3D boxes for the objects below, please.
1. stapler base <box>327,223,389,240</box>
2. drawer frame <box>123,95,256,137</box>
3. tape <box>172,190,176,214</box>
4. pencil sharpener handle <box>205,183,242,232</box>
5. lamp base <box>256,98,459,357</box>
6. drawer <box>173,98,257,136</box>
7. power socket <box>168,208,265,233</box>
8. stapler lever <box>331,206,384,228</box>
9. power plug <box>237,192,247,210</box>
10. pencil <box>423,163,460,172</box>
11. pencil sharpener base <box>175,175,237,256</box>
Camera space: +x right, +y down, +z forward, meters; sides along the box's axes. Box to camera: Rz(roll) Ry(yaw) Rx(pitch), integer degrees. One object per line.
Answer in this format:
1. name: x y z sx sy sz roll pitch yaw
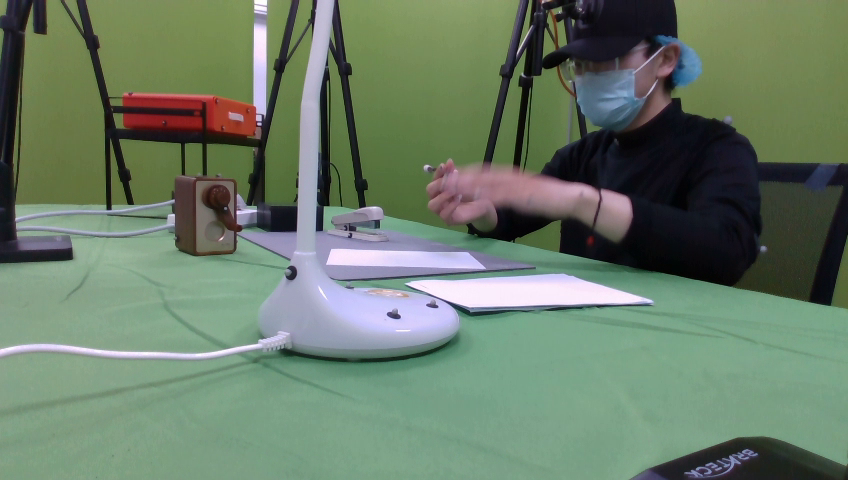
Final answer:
1. stapler base: -0.117 -0.018 1.073 0.130 0.024 0.041 7 8 41
2. drawer frame: -0.524 -0.281 1.376 0.213 0.082 0.202 3 8 8
3. tape: -0.515 -0.087 1.388 0.117 0.052 0.117 3 7 0
4. pencil sharpener handle: -0.265 -0.043 0.812 0.036 0.068 0.030 -32 28 -35
5. lamp base: -0.055 -0.013 0.463 0.160 0.180 0.180 6 11 27
6. drawer: -0.518 -0.279 1.376 0.211 0.073 0.195 3 8 10
7. power socket: -0.381 -0.038 1.129 0.072 0.032 0.227 4 8 17
8. stapler lever: -0.118 -0.043 1.070 0.117 0.040 0.027 7 8 41
9. power plug: -0.386 -0.071 1.204 0.072 0.052 0.035 7 9 26
10. pencil: 0.028 -0.121 1.013 0.012 0.012 0.193 0 9 -16
11. pencil sharpener base: -0.304 -0.036 0.847 0.062 0.107 0.076 -4 10 -42
